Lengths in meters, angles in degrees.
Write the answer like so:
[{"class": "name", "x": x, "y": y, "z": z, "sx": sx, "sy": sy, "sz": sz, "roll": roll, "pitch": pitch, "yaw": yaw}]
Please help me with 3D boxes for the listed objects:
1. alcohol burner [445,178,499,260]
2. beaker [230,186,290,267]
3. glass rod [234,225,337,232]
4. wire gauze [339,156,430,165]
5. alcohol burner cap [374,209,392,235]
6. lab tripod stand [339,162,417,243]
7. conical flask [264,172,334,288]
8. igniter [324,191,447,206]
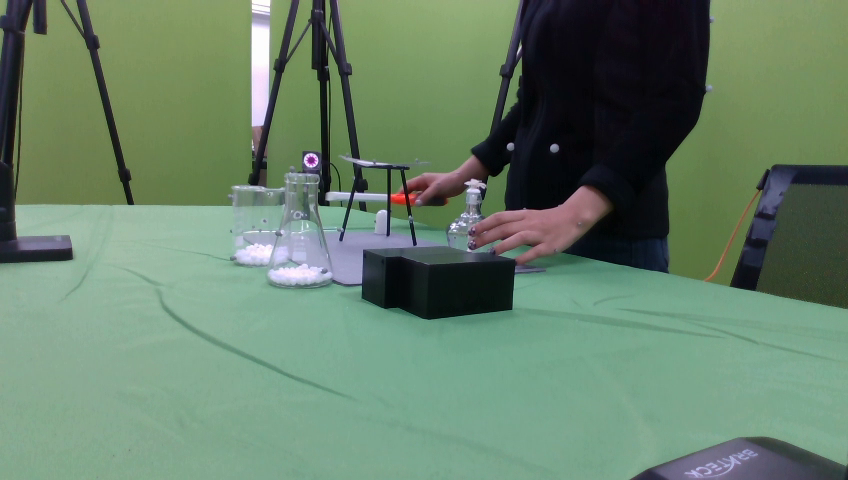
[{"class": "alcohol burner", "x": 0.071, "y": -0.030, "z": 0.875, "sx": 0.078, "sy": 0.119, "sz": 0.078, "roll": 4, "pitch": 6, "yaw": 0}, {"class": "beaker", "x": -0.209, "y": -0.019, "z": 0.778, "sx": 0.074, "sy": 0.100, "sz": 0.084, "roll": 3, "pitch": 6, "yaw": 4}, {"class": "glass rod", "x": -0.256, "y": -0.023, "z": 1.136, "sx": 0.201, "sy": 0.008, "sz": 0.008, "roll": -3, "pitch": 9, "yaw": -33}, {"class": "wire gauze", "x": -0.067, "y": -0.133, "z": 1.022, "sx": 0.122, "sy": 0.011, "sz": 0.124, "roll": -1, "pitch": 9, "yaw": -31}, {"class": "alcohol burner cap", "x": -0.078, "y": -0.036, "z": 1.148, "sx": 0.034, "sy": 0.048, "sz": 0.034, "roll": 3, "pitch": 7, "yaw": 0}, {"class": "lab tripod stand", "x": -0.067, "y": -0.065, "z": 1.027, "sx": 0.148, "sy": 0.131, "sz": 0.148, "roll": 4, "pitch": 7, "yaw": 0}, {"class": "conical flask", "x": -0.136, "y": -0.013, "z": 0.660, "sx": 0.075, "sy": 0.122, "sz": 0.075, "roll": 2, "pitch": 7, "yaw": 0}, {"class": "igniter", "x": -0.077, "y": -0.090, "z": 1.294, "sx": 0.278, "sy": 0.025, "sz": 0.057, "roll": 0, "pitch": 2, "yaw": -29}]
